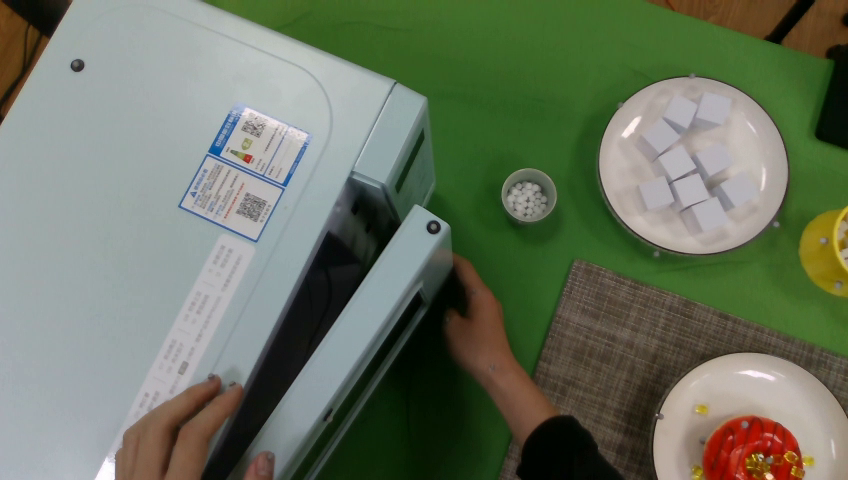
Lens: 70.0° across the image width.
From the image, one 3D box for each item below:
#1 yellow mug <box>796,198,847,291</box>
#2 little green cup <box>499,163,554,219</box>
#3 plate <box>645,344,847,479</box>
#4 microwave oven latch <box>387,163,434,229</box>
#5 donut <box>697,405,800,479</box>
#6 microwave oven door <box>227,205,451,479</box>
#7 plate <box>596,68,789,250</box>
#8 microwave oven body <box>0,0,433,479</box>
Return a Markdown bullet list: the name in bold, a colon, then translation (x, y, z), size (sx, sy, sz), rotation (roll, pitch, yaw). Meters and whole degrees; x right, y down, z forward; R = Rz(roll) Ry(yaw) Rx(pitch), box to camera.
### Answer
- **yellow mug**: translation (0.470, 0.017, 0.645), size (0.100, 0.064, 0.130), rotation (-16, 81, -1)
- **little green cup**: translation (0.114, -0.053, 0.683), size (0.061, 0.039, 0.061), rotation (0, 82, 3)
- **plate**: translation (0.331, 0.212, 0.628), size (0.209, 0.038, 0.208), rotation (0, 81, 3)
- **microwave oven latch**: translation (-0.015, -0.052, 0.670), size (0.030, 0.029, 0.079), rotation (26, 83, 6)
- **donut**: translation (0.329, 0.219, 0.616), size (0.099, 0.048, 0.099), rotation (-1, 83, 5)
- **microwave oven door**: translation (-0.089, 0.142, 0.539), size (0.039, 0.245, 0.355), rotation (33, 83, 8)
- **plate**: translation (0.296, -0.089, 0.684), size (0.207, 0.039, 0.207), rotation (0, 80, 2)
- **microwave oven body**: translation (-0.227, 0.032, 0.567), size (0.325, 0.261, 0.441), rotation (24, 83, 6)
